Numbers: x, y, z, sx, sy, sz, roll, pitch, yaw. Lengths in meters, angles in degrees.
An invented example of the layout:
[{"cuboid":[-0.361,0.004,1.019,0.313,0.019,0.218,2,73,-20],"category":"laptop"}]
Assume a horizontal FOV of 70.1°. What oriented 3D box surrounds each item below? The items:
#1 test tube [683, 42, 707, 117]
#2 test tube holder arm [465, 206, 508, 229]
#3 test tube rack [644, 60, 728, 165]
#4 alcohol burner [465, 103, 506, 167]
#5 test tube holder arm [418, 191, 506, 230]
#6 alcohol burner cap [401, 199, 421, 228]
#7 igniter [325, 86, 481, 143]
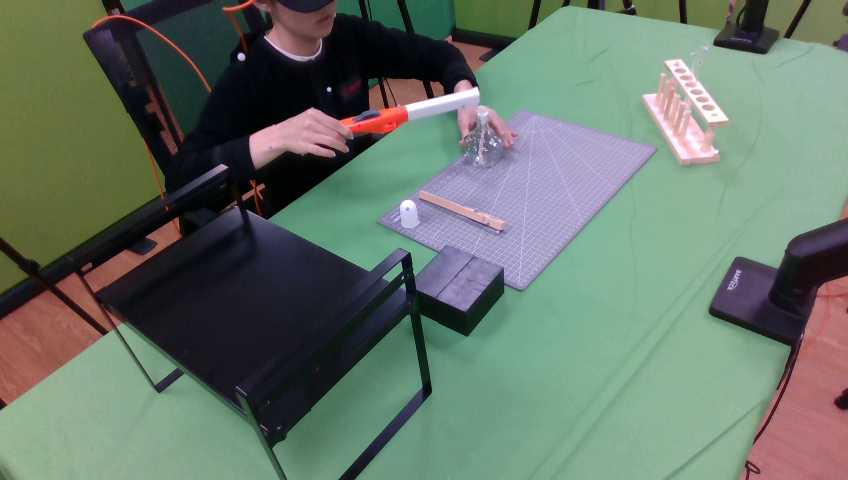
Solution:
[{"cuboid":[0.497,-0.292,1.114,0.017,0.151,0.017,-4,44,4],"category":"test tube"},{"cuboid":[0.100,-0.038,1.005,0.087,0.015,0.010,23,14,32],"category":"test tube holder arm"},{"cuboid":[0.485,-0.246,1.139,0.067,0.085,0.241,-5,41,4],"category":"test tube rack"},{"cuboid":[0.112,-0.196,1.112,0.078,0.119,0.077,-5,39,4],"category":"alcohol burner"},{"cuboid":[0.061,-0.052,1.024,0.177,0.015,0.013,23,14,31],"category":"test tube holder arm"},{"cuboid":[-0.022,-0.047,1.014,0.034,0.048,0.033,-4,42,4],"category":"alcohol burner cap"},{"cuboid":[-0.037,-0.214,1.034,0.277,0.057,0.025,-16,63,-3],"category":"igniter"}]
